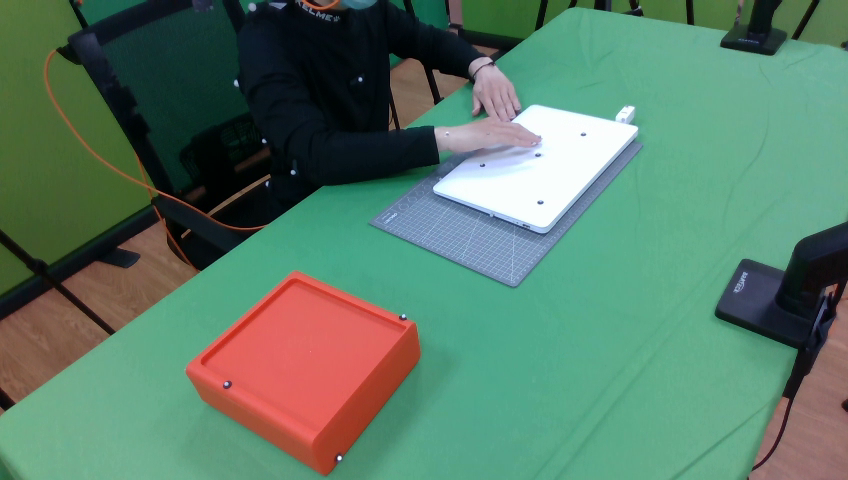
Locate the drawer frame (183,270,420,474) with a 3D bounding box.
[{"bbox_3d":[-0.149,0.153,0.767,0.212,0.083,0.202,20,46,27],"label":"drawer frame"}]

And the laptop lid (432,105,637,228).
[{"bbox_3d":[0.207,-0.152,1.104,0.239,0.013,0.358,23,49,34],"label":"laptop lid"}]

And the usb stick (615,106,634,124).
[{"bbox_3d":[0.385,-0.234,1.172,0.021,0.027,0.059,20,52,29],"label":"usb stick"}]

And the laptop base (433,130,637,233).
[{"bbox_3d":[0.210,-0.142,1.111,0.233,0.023,0.355,21,48,34],"label":"laptop base"}]

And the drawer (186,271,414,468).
[{"bbox_3d":[-0.150,0.153,0.768,0.210,0.073,0.195,20,46,28],"label":"drawer"}]
